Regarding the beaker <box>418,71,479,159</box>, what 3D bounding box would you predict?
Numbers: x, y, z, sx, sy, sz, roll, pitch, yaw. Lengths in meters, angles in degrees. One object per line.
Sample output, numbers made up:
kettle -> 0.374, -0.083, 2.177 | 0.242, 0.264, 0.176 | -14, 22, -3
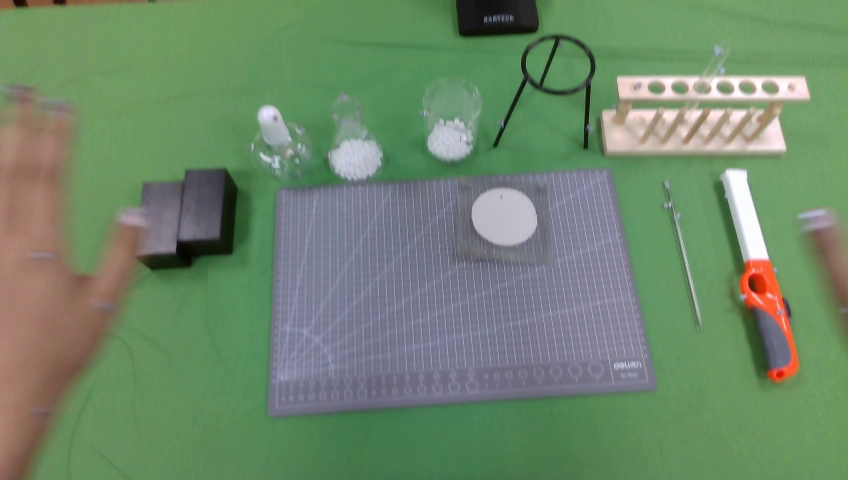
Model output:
beaker -> 0.033, -0.157, 0.792 | 0.074, 0.101, 0.083 | -21, 69, -8

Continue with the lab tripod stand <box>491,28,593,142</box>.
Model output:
lab tripod stand -> 0.157, -0.192, 0.788 | 0.148, 0.132, 0.147 | 0, 69, 1

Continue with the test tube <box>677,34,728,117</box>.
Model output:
test tube -> 0.347, -0.202, 0.764 | 0.017, 0.151, 0.017 | -1, 67, 3

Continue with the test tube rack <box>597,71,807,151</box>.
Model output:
test tube rack -> 0.364, -0.170, 0.804 | 0.242, 0.086, 0.066 | 0, 67, 0

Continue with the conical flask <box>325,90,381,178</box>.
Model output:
conical flask -> -0.096, -0.137, 0.771 | 0.075, 0.122, 0.075 | 0, 67, 0

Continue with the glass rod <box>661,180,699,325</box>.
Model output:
glass rod -> 0.324, 0.011, 0.771 | 0.008, 0.008, 0.198 | -3, 67, -1

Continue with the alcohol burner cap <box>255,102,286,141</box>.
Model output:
alcohol burner cap -> -0.189, -0.149, 0.741 | 0.034, 0.048, 0.033 | 0, 61, 0

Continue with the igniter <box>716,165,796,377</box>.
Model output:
igniter -> 0.410, 0.031, 0.752 | 0.057, 0.025, 0.274 | 2, 67, -9

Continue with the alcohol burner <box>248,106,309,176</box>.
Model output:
alcohol burner -> -0.189, -0.132, 0.773 | 0.078, 0.120, 0.077 | -1, 68, 2

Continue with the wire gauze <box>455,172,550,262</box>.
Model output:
wire gauze -> 0.102, -0.033, 0.786 | 0.125, 0.011, 0.120 | 5, 67, -1
